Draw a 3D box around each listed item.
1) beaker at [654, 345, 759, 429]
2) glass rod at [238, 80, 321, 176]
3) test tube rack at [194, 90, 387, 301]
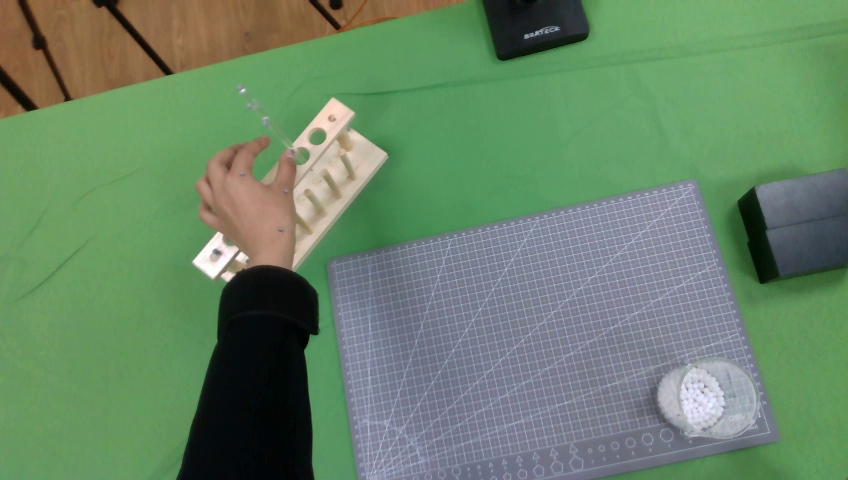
[{"bbox_3d":[0.276,0.151,0.608,0.073,0.101,0.084,40,84,15],"label":"beaker"},{"bbox_3d":[-0.153,-0.115,0.661,0.008,0.201,0.008,-4,70,11],"label":"glass rod"},{"bbox_3d":[-0.150,-0.049,0.713,0.066,0.085,0.242,36,83,14],"label":"test tube rack"}]
